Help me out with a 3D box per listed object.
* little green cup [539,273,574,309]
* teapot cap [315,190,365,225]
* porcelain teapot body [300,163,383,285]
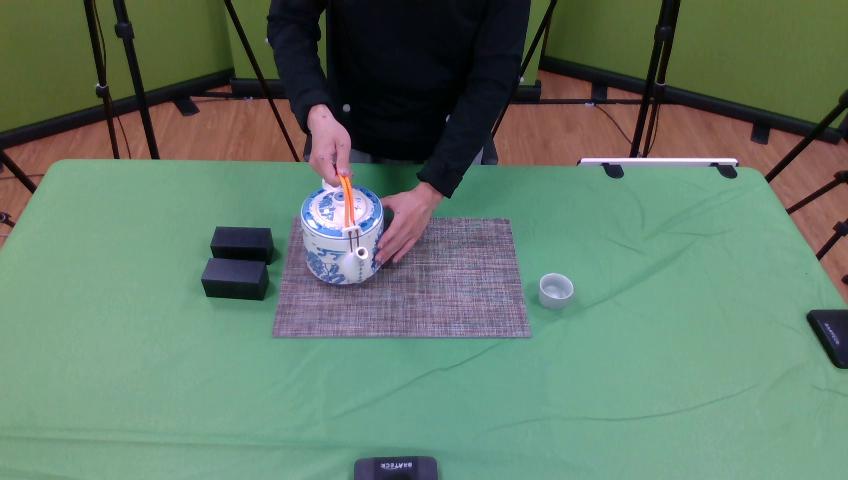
[{"bbox_3d":[0.240,0.096,1.113,0.061,0.039,0.061,2,47,-2],"label":"little green cup"},{"bbox_3d":[-0.145,-0.061,1.045,0.085,0.044,0.084,1,49,-1],"label":"teapot cap"},{"bbox_3d":[-0.134,-0.014,1.057,0.145,0.226,0.204,-16,50,-19],"label":"porcelain teapot body"}]
